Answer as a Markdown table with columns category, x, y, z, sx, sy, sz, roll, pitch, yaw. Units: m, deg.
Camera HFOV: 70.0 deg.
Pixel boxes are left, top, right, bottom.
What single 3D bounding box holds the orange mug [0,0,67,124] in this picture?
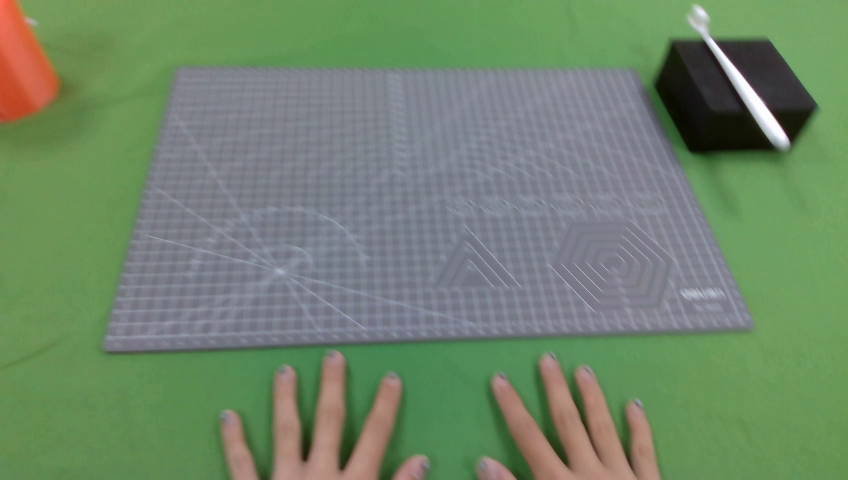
| category | x | y | z | sx | sy | sz | roll | pitch | yaw |
| --- | --- | --- | --- | --- | --- | --- | --- | --- | --- |
| orange mug | -0.379 | -0.154 | 0.499 | 0.126 | 0.101 | 0.083 | -30 | 60 | -30 |

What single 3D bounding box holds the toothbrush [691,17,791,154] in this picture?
| category | x | y | z | sx | sy | sz | roll | pitch | yaw |
| --- | --- | --- | --- | --- | --- | --- | --- | --- | --- |
| toothbrush | 0.277 | -0.142 | 0.534 | 0.014 | 0.017 | 0.180 | -2 | 52 | -9 |
